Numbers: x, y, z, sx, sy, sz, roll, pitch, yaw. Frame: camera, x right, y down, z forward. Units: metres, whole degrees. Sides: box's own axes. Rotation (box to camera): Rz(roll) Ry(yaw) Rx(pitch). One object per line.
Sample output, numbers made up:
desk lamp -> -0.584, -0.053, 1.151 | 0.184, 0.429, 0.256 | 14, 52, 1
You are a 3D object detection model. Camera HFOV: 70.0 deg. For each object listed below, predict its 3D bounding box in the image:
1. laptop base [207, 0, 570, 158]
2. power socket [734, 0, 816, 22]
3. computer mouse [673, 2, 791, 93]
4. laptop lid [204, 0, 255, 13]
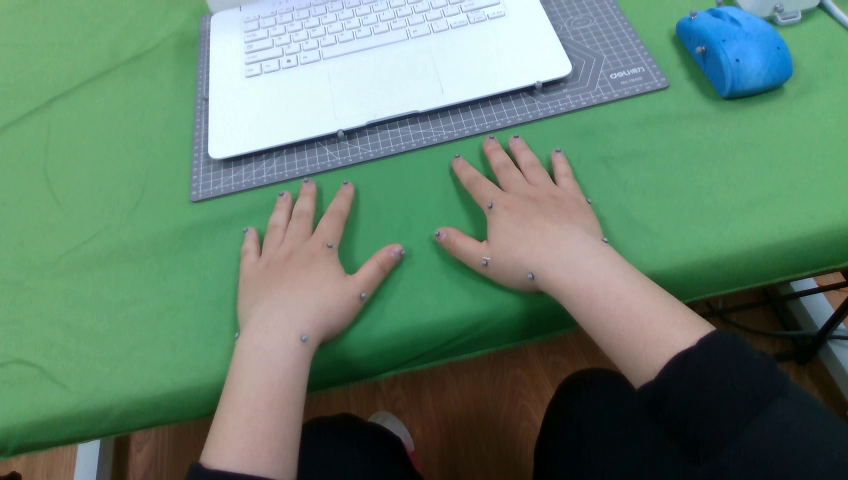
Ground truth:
laptop base -> -0.052, -0.205, 0.634 | 0.354, 0.023, 0.233 | -14, 57, 0
power socket -> 0.332, -0.309, 0.632 | 0.072, 0.033, 0.224 | -11, 54, 3
computer mouse -> 0.277, -0.183, 0.550 | 0.063, 0.041, 0.116 | -14, 49, 3
laptop lid -> -0.097, -0.384, 0.623 | 0.357, 0.244, 0.013 | -15, 41, 1
